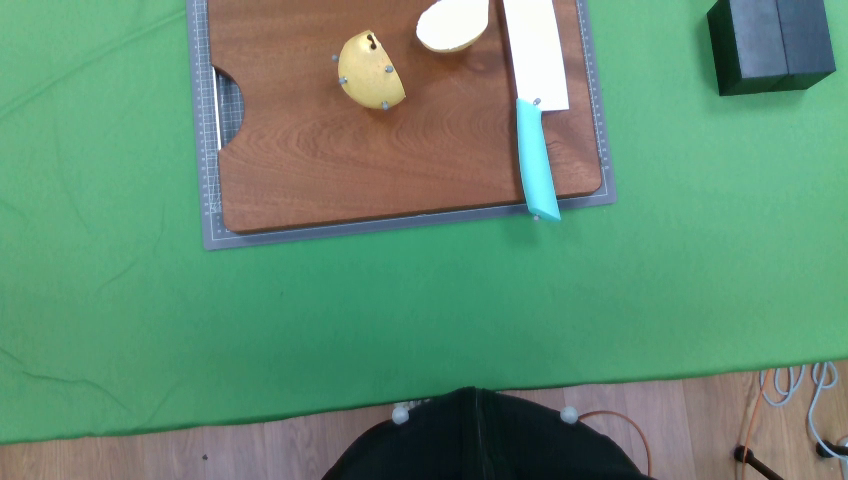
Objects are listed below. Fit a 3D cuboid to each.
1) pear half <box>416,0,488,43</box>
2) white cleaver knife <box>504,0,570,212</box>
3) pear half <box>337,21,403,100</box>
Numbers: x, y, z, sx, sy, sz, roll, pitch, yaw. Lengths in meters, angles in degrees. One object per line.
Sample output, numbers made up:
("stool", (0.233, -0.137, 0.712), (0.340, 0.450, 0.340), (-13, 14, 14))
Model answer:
("pear half", (0.033, -0.234, 0.638), (0.070, 0.031, 0.088), (40, 71, 20))
("white cleaver knife", (0.123, -0.170, 0.638), (0.066, 0.021, 0.285), (-5, 85, -10))
("pear half", (-0.058, -0.176, 0.593), (0.056, 0.110, 0.076), (-36, 80, -4))
